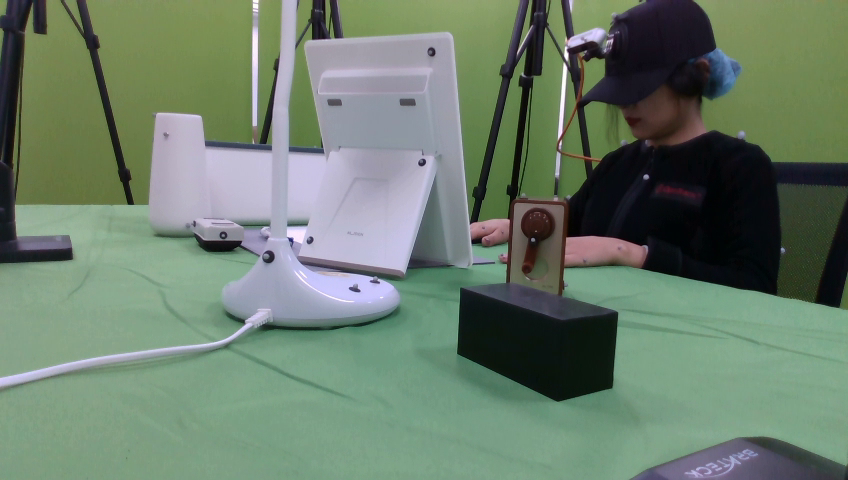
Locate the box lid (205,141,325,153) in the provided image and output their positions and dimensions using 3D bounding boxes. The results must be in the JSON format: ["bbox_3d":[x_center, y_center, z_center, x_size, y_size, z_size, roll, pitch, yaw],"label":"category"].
[{"bbox_3d":[-0.357,-0.196,1.284,0.373,0.015,0.262,-2,9,-32],"label":"box lid"}]

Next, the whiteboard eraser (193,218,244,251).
[{"bbox_3d":[-0.307,-0.009,0.900,0.056,0.042,0.112,-4,10,-28],"label":"whiteboard eraser"}]

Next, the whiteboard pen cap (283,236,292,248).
[{"bbox_3d":[-0.211,0.003,0.913,0.018,0.018,0.033,-2,6,-28],"label":"whiteboard pen cap"}]

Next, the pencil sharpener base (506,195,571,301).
[{"bbox_3d":[0.126,0.007,0.662,0.061,0.107,0.077,4,8,13],"label":"pencil sharpener base"}]

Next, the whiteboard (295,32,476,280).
[{"bbox_3d":[-0.076,-0.084,0.747,0.216,0.305,0.144,7,28,29],"label":"whiteboard"}]

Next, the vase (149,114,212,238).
[{"bbox_3d":[-0.405,-0.106,1.006,0.098,0.200,0.098,2,6,0],"label":"vase"}]

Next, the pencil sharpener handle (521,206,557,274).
[{"bbox_3d":[0.112,0.000,0.611,0.036,0.067,0.031,13,10,11],"label":"pencil sharpener handle"}]

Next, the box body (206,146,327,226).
[{"bbox_3d":[-0.363,-0.123,1.293,0.366,0.160,0.253,-2,9,-32],"label":"box body"}]

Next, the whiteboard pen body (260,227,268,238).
[{"bbox_3d":[-0.239,-0.005,0.964,0.017,0.017,0.140,-2,9,-28],"label":"whiteboard pen body"}]

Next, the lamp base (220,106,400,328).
[{"bbox_3d":[-0.102,-0.023,0.531,0.160,0.180,0.179,4,10,10],"label":"lamp base"}]
